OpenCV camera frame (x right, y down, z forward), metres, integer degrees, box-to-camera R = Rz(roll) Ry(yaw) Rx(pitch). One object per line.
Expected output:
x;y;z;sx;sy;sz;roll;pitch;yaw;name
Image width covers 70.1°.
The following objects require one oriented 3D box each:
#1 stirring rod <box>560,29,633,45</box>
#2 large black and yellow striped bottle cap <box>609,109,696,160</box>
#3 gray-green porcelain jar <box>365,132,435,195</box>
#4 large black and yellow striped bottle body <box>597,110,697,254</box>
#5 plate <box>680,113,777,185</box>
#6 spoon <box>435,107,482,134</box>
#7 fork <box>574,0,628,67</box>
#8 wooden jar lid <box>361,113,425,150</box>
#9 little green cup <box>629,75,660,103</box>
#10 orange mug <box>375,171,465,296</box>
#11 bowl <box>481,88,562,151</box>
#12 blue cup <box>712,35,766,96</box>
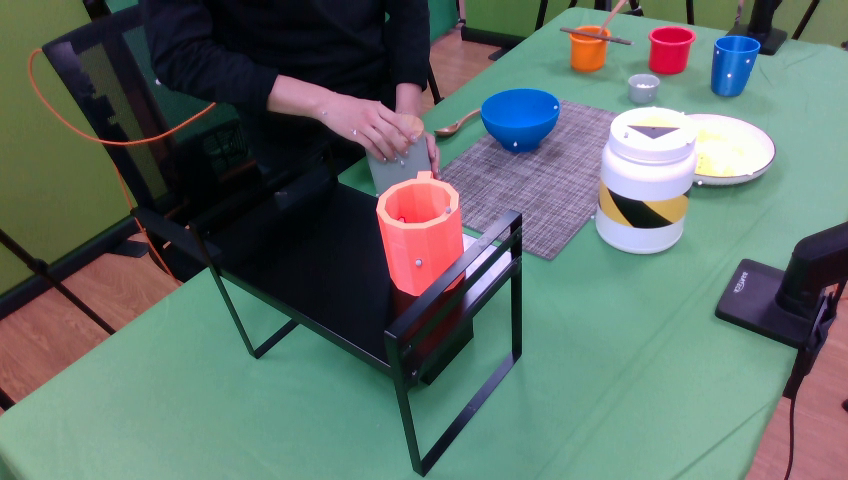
0.381;-0.452;1.345;0.174;0.006;0.014;25;49;33;stirring rod
0.320;-0.150;0.849;0.115;0.019;0.114;-4;40;3;large black and yellow striped bottle cap
-0.039;-0.130;1.054;0.106;0.127;0.105;-8;39;7;gray-green porcelain jar
0.331;-0.086;0.904;0.131;0.185;0.130;-5;41;4;large black and yellow striped bottle body
0.506;-0.158;1.073;0.209;0.038;0.208;-5;40;4;plate
0.100;-0.260;1.268;0.194;0.022;0.041;-34;28;-27;spoon
0.413;-0.481;1.377;0.207;0.019;0.028;-56;43;12;fork
-0.050;-0.178;1.015;0.108;0.021;0.108;-6;40;6;wooden jar lid
0.458;-0.314;1.260;0.061;0.039;0.061;-4;40;4;little green cup
0.000;-0.016;0.661;0.083;0.101;0.125;-2;45;8;orange mug
0.187;-0.223;1.161;0.151;0.077;0.150;-4;40;4;bowl
0.627;-0.350;1.227;0.092;0.100;0.092;-4;39;4;blue cup
